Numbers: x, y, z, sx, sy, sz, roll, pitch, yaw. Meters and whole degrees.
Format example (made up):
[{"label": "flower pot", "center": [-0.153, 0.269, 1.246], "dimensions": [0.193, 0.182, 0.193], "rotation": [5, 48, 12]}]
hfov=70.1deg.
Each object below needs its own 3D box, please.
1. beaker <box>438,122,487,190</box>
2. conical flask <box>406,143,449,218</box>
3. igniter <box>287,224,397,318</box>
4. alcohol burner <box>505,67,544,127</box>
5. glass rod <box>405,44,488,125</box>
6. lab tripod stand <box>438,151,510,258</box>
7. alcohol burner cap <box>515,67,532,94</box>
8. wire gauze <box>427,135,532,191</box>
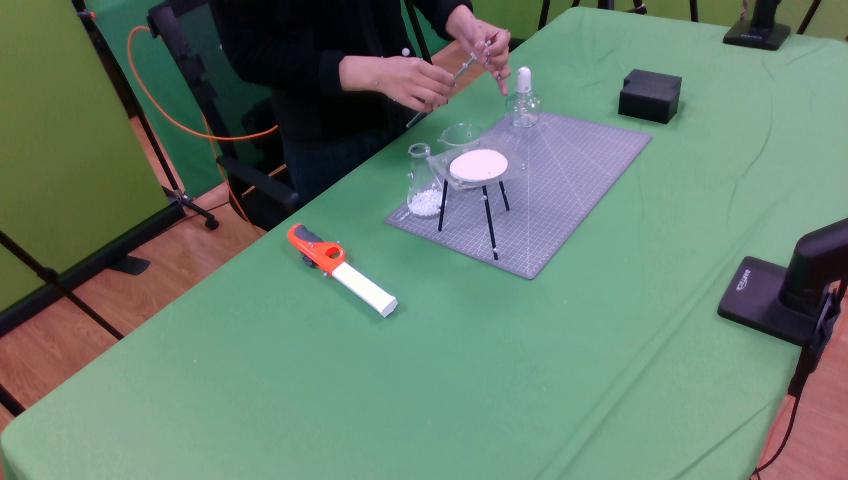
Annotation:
[{"label": "beaker", "center": [0.072, -0.147, 1.080], "dimensions": [0.084, 0.101, 0.073], "rotation": [-5, 40, 7]}, {"label": "conical flask", "center": [-0.001, -0.104, 1.024], "dimensions": [0.075, 0.122, 0.075], "rotation": [-6, 40, 5]}, {"label": "igniter", "center": [-0.139, 0.042, 0.958], "dimensions": [0.057, 0.025, 0.274], "rotation": [-42, 49, -19]}, {"label": "alcohol burner", "center": [0.201, -0.288, 1.211], "dimensions": [0.078, 0.119, 0.077], "rotation": [-6, 38, 5]}, {"label": "glass rod", "center": [0.035, -0.263, 1.035], "dimensions": [0.199, 0.008, 0.008], "rotation": [-40, 32, 25]}, {"label": "lab tripod stand", "center": [0.087, -0.064, 0.952], "dimensions": [0.148, 0.132, 0.147], "rotation": [-6, 38, 5]}, {"label": "alcohol burner cap", "center": [0.197, -0.315, 1.187], "dimensions": [0.034, 0.048, 0.033], "rotation": [-3, 47, 3]}, {"label": "wire gauze", "center": [0.081, -0.115, 0.909], "dimensions": [0.125, 0.011, 0.120], "rotation": [-18, 39, -11]}]
